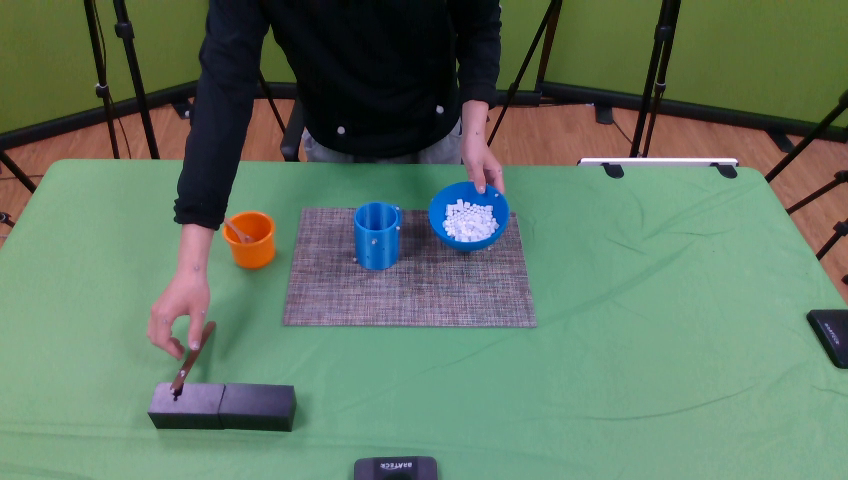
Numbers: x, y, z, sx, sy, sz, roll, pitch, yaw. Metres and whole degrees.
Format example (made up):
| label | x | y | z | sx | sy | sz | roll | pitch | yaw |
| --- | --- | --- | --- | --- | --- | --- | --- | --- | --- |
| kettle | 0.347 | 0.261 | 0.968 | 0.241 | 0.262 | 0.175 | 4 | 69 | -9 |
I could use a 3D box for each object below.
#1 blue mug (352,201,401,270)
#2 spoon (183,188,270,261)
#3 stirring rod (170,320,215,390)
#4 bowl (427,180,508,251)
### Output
| label | x | y | z | sx | sy | sz | roll | pitch | yaw |
| --- | --- | --- | --- | --- | --- | --- | --- | --- | --- |
| blue mug | -0.082 | -0.017 | 1.144 | 0.082 | 0.106 | 0.116 | 30 | 51 | 23 |
| spoon | -0.360 | -0.029 | 1.110 | 0.021 | 0.194 | 0.041 | -23 | 30 | 39 |
| stirring rod | -0.367 | 0.180 | 0.969 | 0.014 | 0.006 | 0.175 | -1 | 27 | 1 |
| bowl | 0.082 | -0.032 | 1.141 | 0.151 | 0.077 | 0.150 | -3 | 53 | 4 |
